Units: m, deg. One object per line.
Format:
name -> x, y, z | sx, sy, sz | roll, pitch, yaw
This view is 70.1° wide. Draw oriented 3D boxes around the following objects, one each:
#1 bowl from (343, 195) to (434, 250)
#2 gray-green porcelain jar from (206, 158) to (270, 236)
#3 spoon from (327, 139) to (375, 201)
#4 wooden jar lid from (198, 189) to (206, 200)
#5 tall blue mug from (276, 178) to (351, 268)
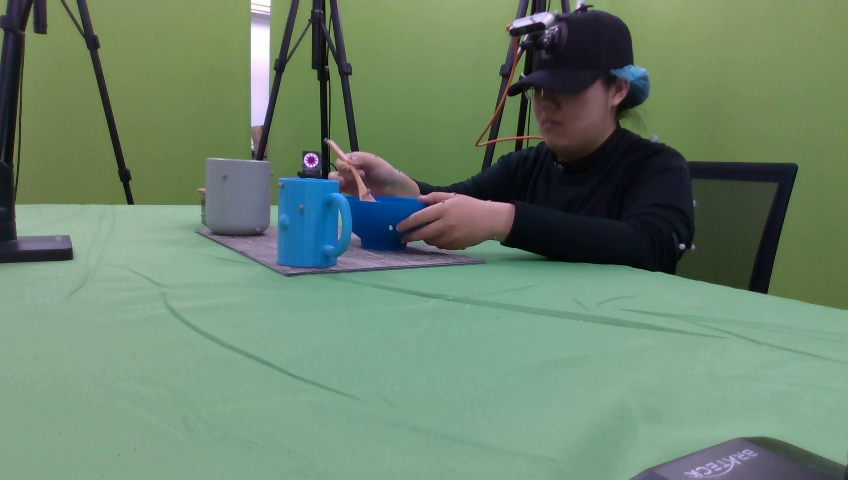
bowl -> -0.063, -0.027, 0.955 | 0.151, 0.077, 0.151 | 3, 7, 0
gray-green porcelain jar -> -0.316, -0.073, 1.031 | 0.106, 0.126, 0.106 | 3, 7, 0
spoon -> -0.114, -0.106, 0.992 | 0.042, 0.021, 0.193 | 5, 45, -46
wooden jar lid -> -0.382, -0.088, 1.175 | 0.108, 0.020, 0.108 | 3, 8, 0
tall blue mug -> -0.134, -0.022, 0.766 | 0.107, 0.108, 0.078 | 4, 6, 12
